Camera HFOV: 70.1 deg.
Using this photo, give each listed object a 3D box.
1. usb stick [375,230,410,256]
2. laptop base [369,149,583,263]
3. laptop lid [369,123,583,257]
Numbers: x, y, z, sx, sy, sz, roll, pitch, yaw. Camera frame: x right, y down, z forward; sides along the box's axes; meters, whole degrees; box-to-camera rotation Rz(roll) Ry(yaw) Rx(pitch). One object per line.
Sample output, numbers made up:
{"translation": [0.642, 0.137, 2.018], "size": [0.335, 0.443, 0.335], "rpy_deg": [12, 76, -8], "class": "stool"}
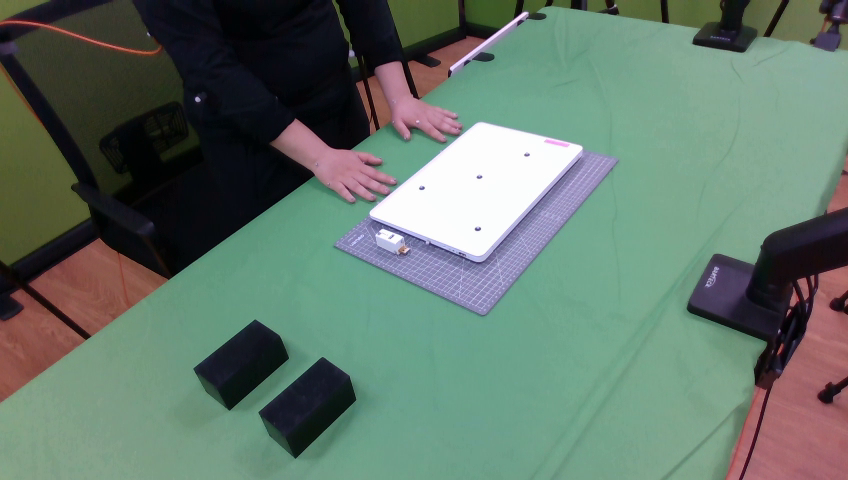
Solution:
{"translation": [-0.049, 0.007, 0.962], "size": [0.059, 0.027, 0.021], "rpy_deg": [25, 46, 28], "class": "usb stick"}
{"translation": [0.101, -0.096, 1.071], "size": [0.233, 0.023, 0.355], "rpy_deg": [20, 47, 33], "class": "laptop base"}
{"translation": [0.097, -0.106, 1.065], "size": [0.239, 0.013, 0.358], "rpy_deg": [22, 48, 33], "class": "laptop lid"}
